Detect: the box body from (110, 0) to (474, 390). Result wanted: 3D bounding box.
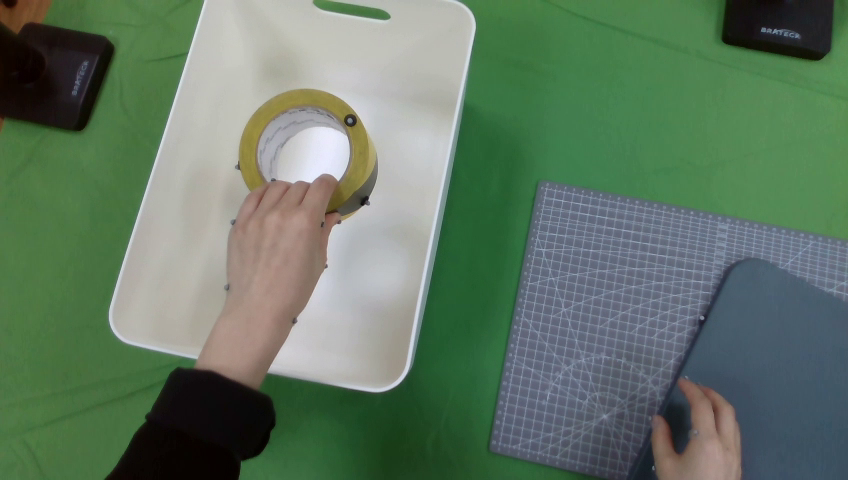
[{"bbox_3d":[-0.106,-0.054,0.604,0.254,0.161,0.362,10,78,3],"label":"box body"}]

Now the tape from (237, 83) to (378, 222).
[{"bbox_3d":[-0.099,-0.073,0.529,0.117,0.053,0.116,0,85,4],"label":"tape"}]

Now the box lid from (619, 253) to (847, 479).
[{"bbox_3d":[0.359,0.219,0.609,0.262,0.015,0.370,29,80,7],"label":"box lid"}]
